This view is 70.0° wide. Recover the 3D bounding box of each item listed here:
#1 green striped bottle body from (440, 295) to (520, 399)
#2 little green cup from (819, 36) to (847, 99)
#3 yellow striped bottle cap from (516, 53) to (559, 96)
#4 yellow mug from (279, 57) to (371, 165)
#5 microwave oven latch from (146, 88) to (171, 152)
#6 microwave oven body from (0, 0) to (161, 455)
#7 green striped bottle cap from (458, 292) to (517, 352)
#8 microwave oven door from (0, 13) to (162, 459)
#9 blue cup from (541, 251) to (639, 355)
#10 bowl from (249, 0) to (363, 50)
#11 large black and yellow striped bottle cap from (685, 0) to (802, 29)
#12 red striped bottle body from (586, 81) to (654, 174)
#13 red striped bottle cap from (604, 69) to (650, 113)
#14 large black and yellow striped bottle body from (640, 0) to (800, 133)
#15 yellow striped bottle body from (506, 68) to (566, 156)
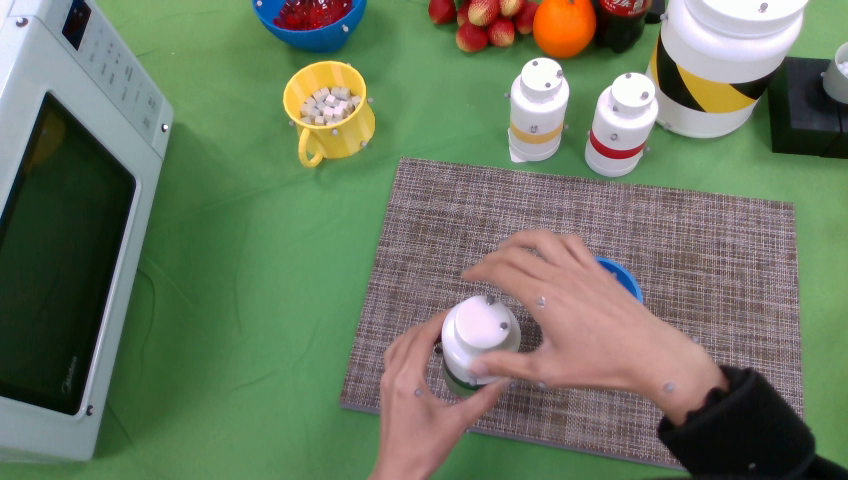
[{"bbox_3d":[0.045,0.088,0.504,0.063,0.120,0.062,0,61,1],"label":"green striped bottle body"},{"bbox_3d":[0.464,-0.185,0.656,0.061,0.039,0.061,-1,64,3],"label":"little green cup"},{"bbox_3d":[0.120,-0.174,0.637,0.044,0.019,0.044,-2,67,4],"label":"yellow striped bottle cap"},{"bbox_3d":[-0.125,-0.150,0.736,0.099,0.064,0.130,17,69,12],"label":"yellow mug"},{"bbox_3d":[-0.337,-0.148,0.751,0.030,0.030,0.078,1,66,6],"label":"microwave oven latch"},{"bbox_3d":[-0.498,-0.025,0.605,0.326,0.262,0.438,-1,66,5],"label":"microwave oven body"},{"bbox_3d":[0.048,0.063,0.463,0.044,0.020,0.044,-7,64,15],"label":"green striped bottle cap"},{"bbox_3d":[-0.354,0.009,0.570,0.039,0.246,0.353,-1,65,6],"label":"microwave oven door"},{"bbox_3d":[0.152,0.069,0.587,0.092,0.101,0.092,-1,65,3],"label":"blue cup"},{"bbox_3d":[-0.147,-0.308,0.804,0.151,0.077,0.150,-2,66,4],"label":"bowl"},{"bbox_3d":[0.308,-0.253,0.584,0.115,0.019,0.114,-2,64,5],"label":"large black and yellow striped bottle cap"},{"bbox_3d":[0.214,-0.130,0.665,0.063,0.121,0.062,-4,62,8],"label":"red striped bottle body"},{"bbox_3d":[0.208,-0.153,0.618,0.044,0.018,0.044,0,65,1],"label":"red striped bottle cap"},{"bbox_3d":[0.317,-0.219,0.660,0.130,0.185,0.129,-2,65,5],"label":"large black and yellow striped bottle body"},{"bbox_3d":[0.125,-0.152,0.684,0.063,0.121,0.062,-2,65,6],"label":"yellow striped bottle body"}]
